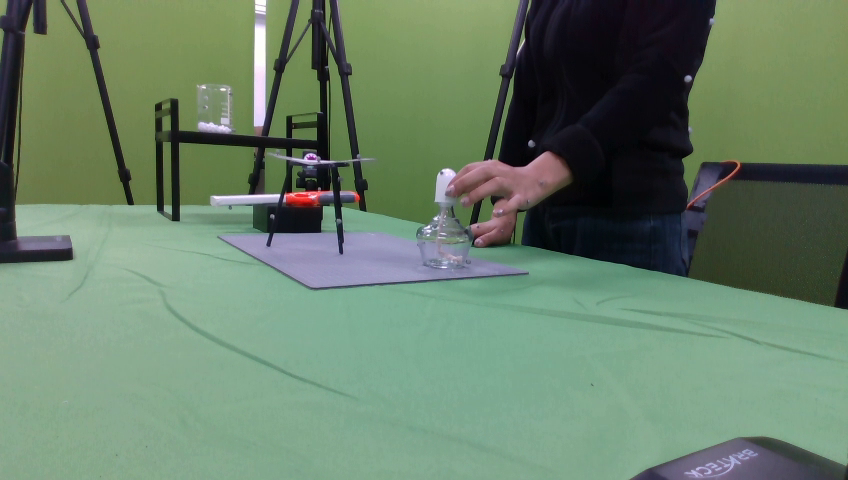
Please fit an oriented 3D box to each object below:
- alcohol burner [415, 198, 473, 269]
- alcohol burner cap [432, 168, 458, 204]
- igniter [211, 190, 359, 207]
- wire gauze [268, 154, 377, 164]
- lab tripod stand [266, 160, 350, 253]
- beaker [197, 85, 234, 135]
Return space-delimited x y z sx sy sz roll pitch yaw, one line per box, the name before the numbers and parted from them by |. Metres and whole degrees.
alcohol burner | 0.028 -0.021 0.807 0.078 0.119 0.078 3 5 0
alcohol burner cap | 0.030 -0.072 0.804 0.034 0.048 0.034 6 10 -1
igniter | -0.257 -0.079 1.148 0.278 0.025 0.057 -4 12 -30
wire gauze | -0.154 -0.120 0.910 0.122 0.011 0.124 -5 11 -44
lab tripod stand | -0.163 -0.054 0.915 0.148 0.131 0.148 2 9 0
beaker | -0.445 -0.275 1.283 0.074 0.100 0.084 5 8 22
